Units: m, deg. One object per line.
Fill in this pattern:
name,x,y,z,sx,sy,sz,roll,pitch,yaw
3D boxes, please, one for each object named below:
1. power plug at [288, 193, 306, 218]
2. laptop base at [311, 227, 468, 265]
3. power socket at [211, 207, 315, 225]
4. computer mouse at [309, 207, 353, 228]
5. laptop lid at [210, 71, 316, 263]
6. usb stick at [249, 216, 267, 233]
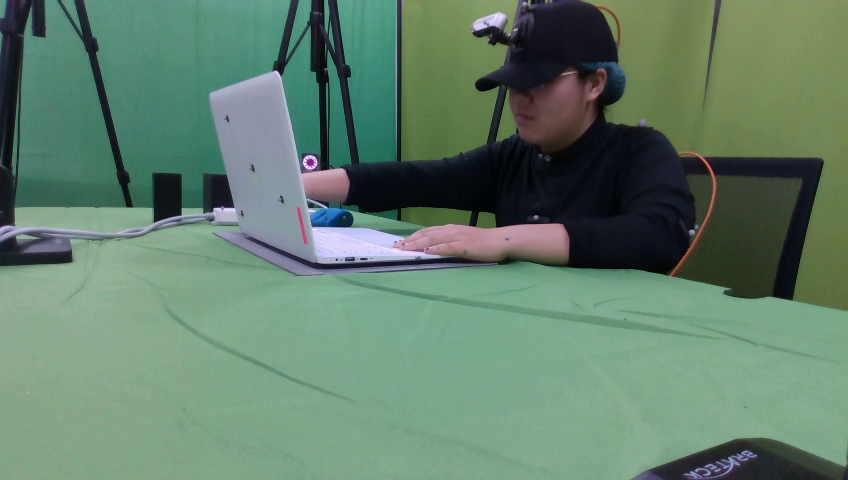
power plug,-0.281,-0.076,1.340,0.035,0.052,0.072,3,6,-18
laptop base,-0.123,0.007,0.952,0.237,0.023,0.352,2,6,-32
power socket,-0.335,-0.052,1.282,0.228,0.032,0.072,-2,9,-28
computer mouse,-0.202,-0.046,1.276,0.062,0.041,0.117,7,12,23
laptop lid,-0.241,-0.104,0.861,0.013,0.241,0.355,-16,17,-29
usb stick,-0.292,-0.027,1.069,0.021,0.027,0.059,2,9,-28
